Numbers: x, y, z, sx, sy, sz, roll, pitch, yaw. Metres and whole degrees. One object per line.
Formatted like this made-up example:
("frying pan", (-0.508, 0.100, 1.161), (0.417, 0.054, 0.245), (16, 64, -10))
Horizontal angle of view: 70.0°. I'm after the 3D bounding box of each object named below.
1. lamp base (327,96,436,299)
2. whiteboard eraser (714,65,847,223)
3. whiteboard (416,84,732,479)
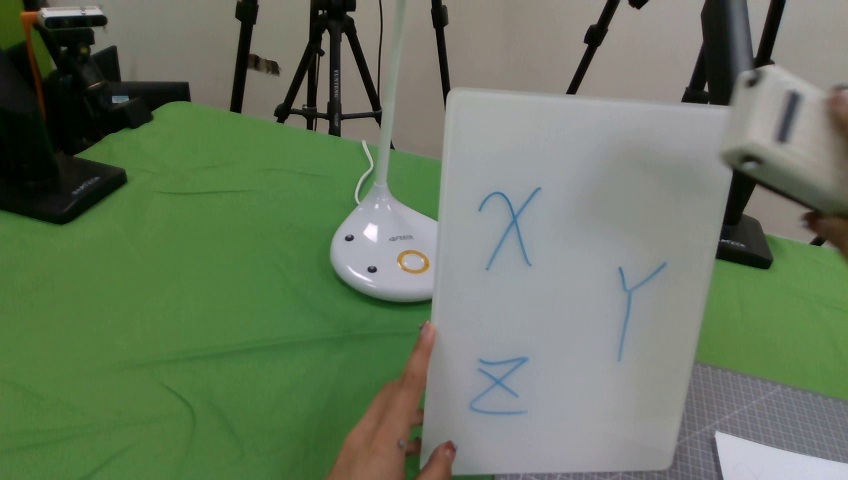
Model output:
("lamp base", (-0.030, -0.055, 0.670), (0.161, 0.181, 0.177), (-16, 39, -30))
("whiteboard eraser", (0.222, -0.052, 0.354), (0.113, 0.055, 0.041), (21, -6, -14))
("whiteboard", (0.104, 0.029, 0.521), (0.218, 0.306, 0.143), (2, 16, -8))
